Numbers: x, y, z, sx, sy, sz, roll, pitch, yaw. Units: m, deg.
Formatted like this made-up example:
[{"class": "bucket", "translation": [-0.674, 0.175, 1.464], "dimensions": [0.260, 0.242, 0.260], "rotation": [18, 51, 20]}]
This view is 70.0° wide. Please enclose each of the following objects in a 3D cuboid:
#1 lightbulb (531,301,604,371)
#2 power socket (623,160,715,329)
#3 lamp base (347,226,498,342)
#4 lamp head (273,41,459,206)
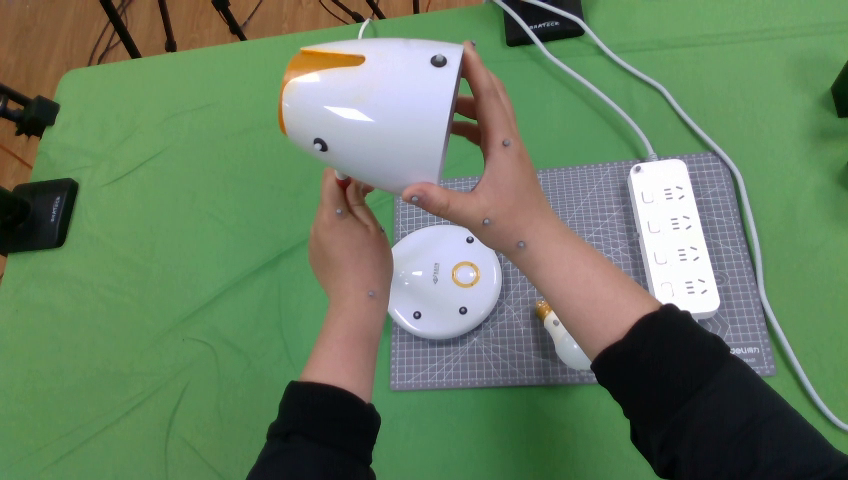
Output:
[{"class": "lightbulb", "translation": [0.166, 0.110, 0.721], "dimensions": [0.059, 0.060, 0.106], "rotation": [-39, 51, -7]}, {"class": "power socket", "translation": [0.302, -0.002, 0.754], "dimensions": [0.072, 0.033, 0.225], "rotation": [-6, 64, 8]}, {"class": "lamp base", "translation": [-0.011, 0.026, 0.723], "dimensions": [0.179, 0.182, 0.159], "rotation": [-11, 64, 10]}, {"class": "lamp head", "translation": [-0.041, -0.086, 0.428], "dimensions": [0.123, 0.113, 0.111], "rotation": [8, 67, 6]}]
